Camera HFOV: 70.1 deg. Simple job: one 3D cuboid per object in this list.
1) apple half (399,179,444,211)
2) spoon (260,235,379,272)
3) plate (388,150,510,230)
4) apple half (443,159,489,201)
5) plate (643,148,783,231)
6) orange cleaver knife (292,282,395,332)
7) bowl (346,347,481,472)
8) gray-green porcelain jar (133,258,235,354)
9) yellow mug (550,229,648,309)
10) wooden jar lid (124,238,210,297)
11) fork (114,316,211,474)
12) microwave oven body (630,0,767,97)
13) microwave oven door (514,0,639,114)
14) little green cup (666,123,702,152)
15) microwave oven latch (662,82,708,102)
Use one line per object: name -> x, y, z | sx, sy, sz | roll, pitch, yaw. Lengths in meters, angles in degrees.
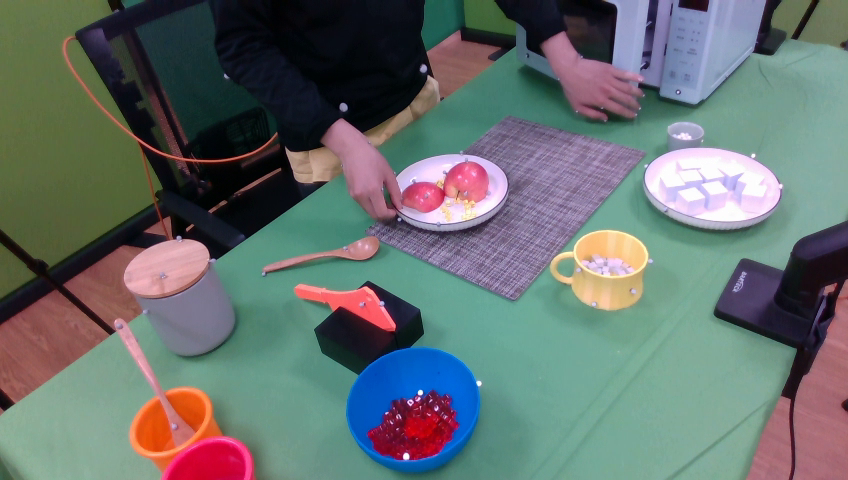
apple half -> -0.003, -0.088, 1.046 | 0.081, 0.033, 0.081 | -1, 42, 1
spoon -> -0.167, 0.024, 0.966 | 0.194, 0.022, 0.041 | -10, 58, -3
plate -> 0.044, -0.083, 1.043 | 0.209, 0.038, 0.208 | -4, 41, 4
apple half -> 0.074, -0.111, 1.047 | 0.080, 0.053, 0.075 | 21, 45, 30
plate -> 0.464, -0.080, 0.986 | 0.207, 0.039, 0.206 | -4, 40, 4
orange cleaver knife -> -0.116, 0.091, 0.835 | 0.209, 0.077, 0.012 | 2, 32, 48
bowl -> -0.008, 0.205, 0.691 | 0.151, 0.077, 0.150 | -4, 40, 4
gray-green porcelain jar -> -0.328, 0.086, 0.836 | 0.106, 0.127, 0.105 | -4, 41, 4
yellow mug -> 0.245, 0.039, 0.857 | 0.130, 0.064, 0.099 | 1, 42, 11
wooden jar lid -> -0.335, 0.038, 0.795 | 0.108, 0.021, 0.108 | -2, 40, 3
fork -> -0.309, 0.179, 0.708 | 0.028, 0.018, 0.207 | -30, 89, -23
microwave oven body -> 0.474, -0.517, 1.314 | 0.438, 0.261, 0.327 | 26, 51, 34
microwave oven door -> 0.305, -0.434, 1.234 | 0.039, 0.245, 0.352 | -26, 44, -20
little green cup -> 0.472, -0.183, 1.103 | 0.061, 0.039, 0.061 | -5, 39, 5
microwave oven latch -> 0.518, -0.298, 1.203 | 0.078, 0.029, 0.030 | 28, 53, 35
